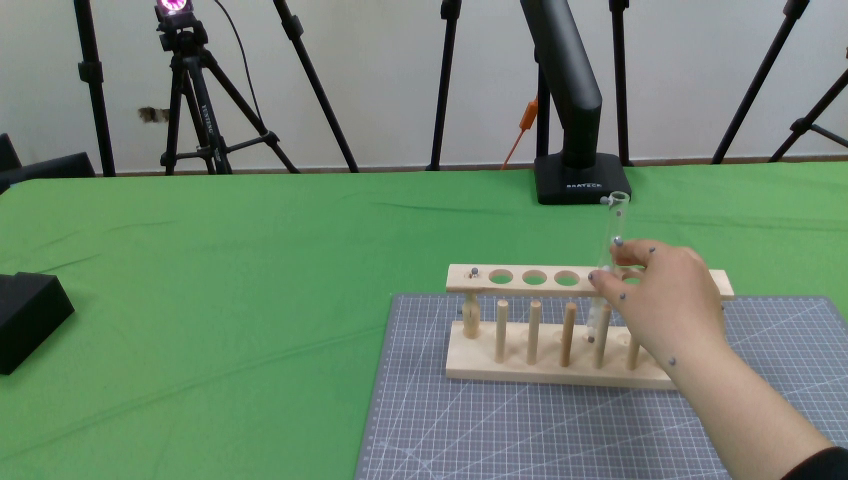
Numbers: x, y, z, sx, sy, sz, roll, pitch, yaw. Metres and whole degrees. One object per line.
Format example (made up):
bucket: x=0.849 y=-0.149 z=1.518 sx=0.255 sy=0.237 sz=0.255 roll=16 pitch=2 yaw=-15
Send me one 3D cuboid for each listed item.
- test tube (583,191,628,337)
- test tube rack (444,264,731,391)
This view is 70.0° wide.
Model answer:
test tube: x=0.157 y=0.026 z=0.531 sx=0.017 sy=0.151 sz=0.017 roll=1 pitch=33 yaw=0
test tube rack: x=0.140 y=0.077 z=0.547 sx=0.242 sy=0.086 sz=0.066 roll=1 pitch=36 yaw=8
